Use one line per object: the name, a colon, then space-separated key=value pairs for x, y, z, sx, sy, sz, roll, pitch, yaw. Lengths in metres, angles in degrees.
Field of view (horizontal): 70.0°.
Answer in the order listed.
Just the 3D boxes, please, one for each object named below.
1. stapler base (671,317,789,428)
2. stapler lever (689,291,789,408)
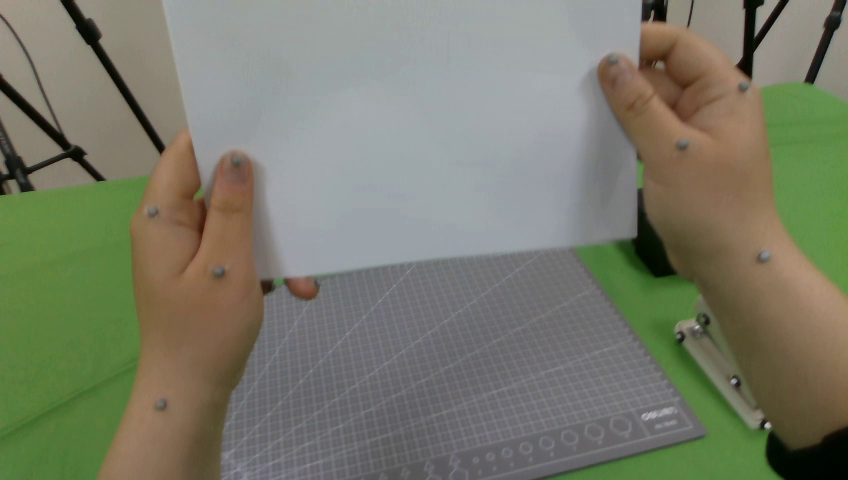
stapler base: x=0.281 y=0.113 z=0.562 sx=0.041 sy=0.024 sz=0.129 roll=-11 pitch=39 yaw=-10
stapler lever: x=0.281 y=0.093 z=0.545 sx=0.027 sy=0.040 sz=0.116 roll=-11 pitch=40 yaw=-10
